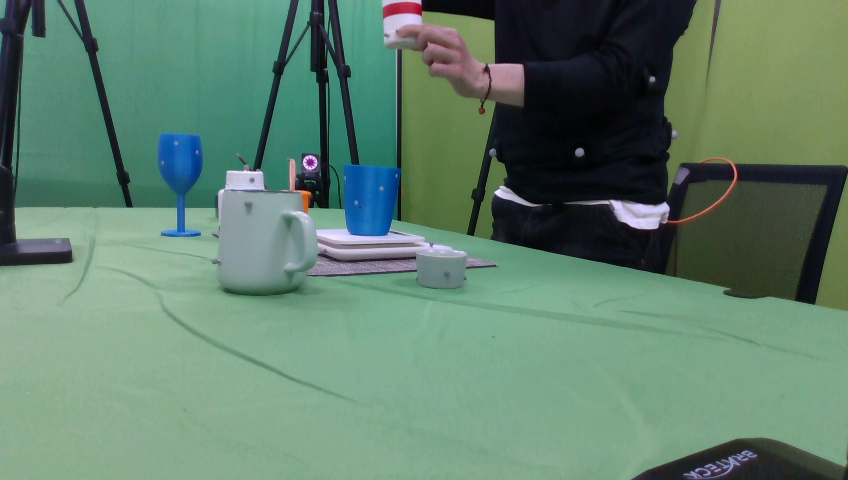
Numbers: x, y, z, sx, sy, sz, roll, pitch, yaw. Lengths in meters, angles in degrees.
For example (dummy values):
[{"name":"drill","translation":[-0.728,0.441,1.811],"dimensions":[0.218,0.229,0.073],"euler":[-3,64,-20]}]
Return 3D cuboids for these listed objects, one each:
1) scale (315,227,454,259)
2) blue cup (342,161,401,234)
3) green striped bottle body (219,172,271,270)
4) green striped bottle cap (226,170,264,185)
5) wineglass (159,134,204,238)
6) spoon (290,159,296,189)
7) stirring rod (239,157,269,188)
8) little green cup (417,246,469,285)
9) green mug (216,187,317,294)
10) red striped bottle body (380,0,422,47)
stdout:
[{"name":"scale","translation":[-0.066,0.001,0.906],"dimensions":[0.202,0.031,0.148],"euler":[-2,8,-31]},{"name":"blue cup","translation":[-0.079,-0.061,0.882],"dimensions":[0.093,0.100,0.092],"euler":[4,5,0]},{"name":"green striped bottle body","translation":[-0.223,-0.025,0.755],"dimensions":[0.063,0.119,0.063],"euler":[2,7,0]},{"name":"green striped bottle cap","translation":[-0.222,-0.076,0.748],"dimensions":[0.044,0.020,0.044],"euler":[0,7,0]},{"name":"wineglass","translation":[-0.415,-0.093,1.040],"dimensions":[0.074,0.172,0.073],"euler":[2,7,0]},{"name":"spoon","translation":[-0.273,-0.102,1.252],"dimensions":[0.042,0.193,0.021],"euler":[7,-38,-17]},{"name":"stirring rod","translation":[-0.309,-0.098,1.209],"dimensions":[0.006,0.177,0.014],"euler":[-39,29,-4]},{"name":"little green cup","translation":[0.021,0.029,0.701],"dimensions":[0.061,0.038,0.061],"euler":[1,6,0]},{"name":"green mug","translation":[-0.157,0.000,0.629],"dimensions":[0.124,0.105,0.093],"euler":[8,9,37]},{"name":"red striped bottle body","translation":[-0.037,-0.368,0.942],"dimensions":[0.063,0.119,0.063],"euler":[-4,5,1]}]
